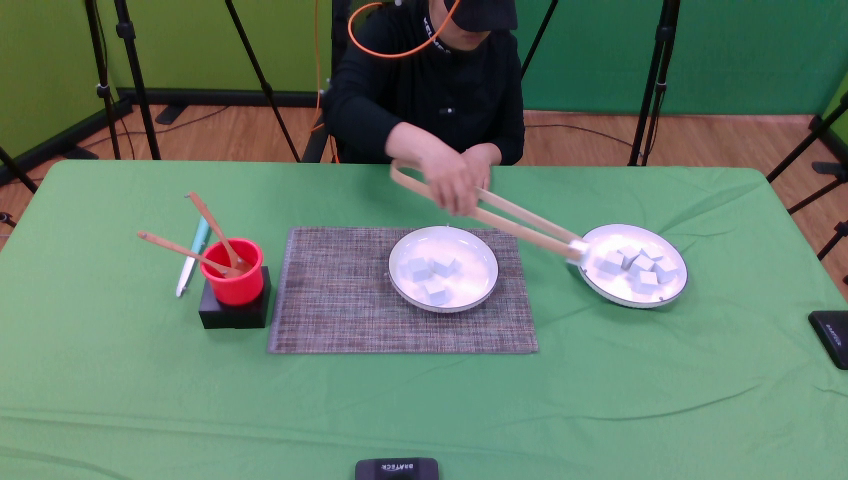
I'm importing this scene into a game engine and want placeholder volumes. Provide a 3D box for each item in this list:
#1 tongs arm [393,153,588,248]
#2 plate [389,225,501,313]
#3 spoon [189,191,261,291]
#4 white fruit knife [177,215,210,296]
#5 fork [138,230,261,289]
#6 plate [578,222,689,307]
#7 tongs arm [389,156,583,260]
[{"bbox_3d":[0.115,-0.075,1.103,0.386,0.028,0.028,26,52,13],"label":"tongs arm"},{"bbox_3d":[0.038,0.057,1.129,0.208,0.039,0.206,2,46,-2],"label":"plate"},{"bbox_3d":[-0.333,0.001,1.011,0.041,0.194,0.021,-34,15,-25],"label":"spoon"},{"bbox_3d":[-0.435,0.025,1.148,0.027,0.016,0.206,-18,45,18],"label":"white fruit knife"},{"bbox_3d":[-0.359,0.032,0.981,0.208,0.018,0.028,31,60,-30],"label":"fork"},{"bbox_3d":[0.396,0.050,1.165,0.209,0.038,0.208,2,47,-2],"label":"plate"},{"bbox_3d":[0.104,-0.061,1.087,0.384,0.026,0.050,23,48,10],"label":"tongs arm"}]
